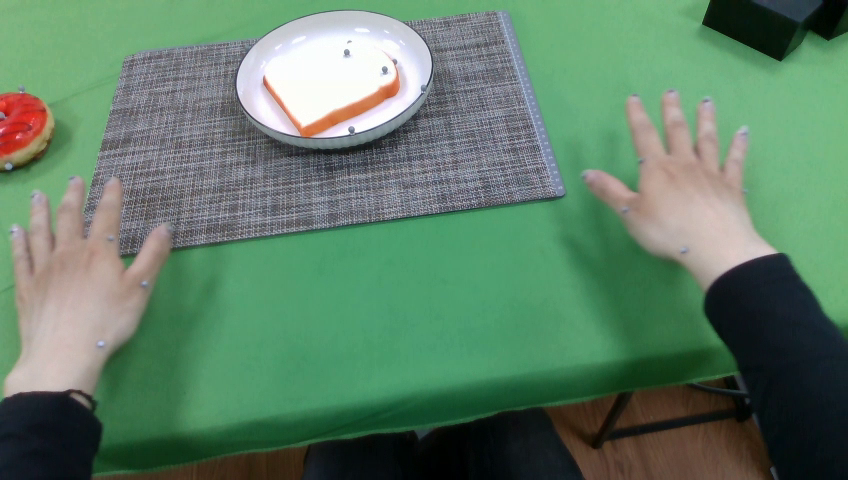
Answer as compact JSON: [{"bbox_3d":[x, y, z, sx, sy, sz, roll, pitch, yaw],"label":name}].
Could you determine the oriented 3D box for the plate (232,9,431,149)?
[{"bbox_3d":[-0.096,-0.169,0.648,0.207,0.039,0.205,-1,54,2],"label":"plate"}]

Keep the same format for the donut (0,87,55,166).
[{"bbox_3d":[-0.438,-0.119,0.631,0.099,0.049,0.098,-2,55,4],"label":"donut"}]

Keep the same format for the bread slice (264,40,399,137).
[{"bbox_3d":[-0.095,-0.172,0.652,0.131,0.019,0.104,-29,59,-16],"label":"bread slice"}]
